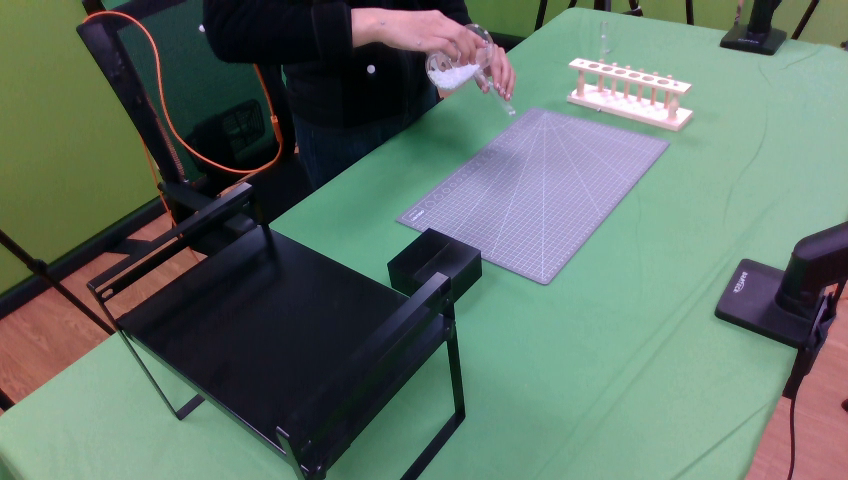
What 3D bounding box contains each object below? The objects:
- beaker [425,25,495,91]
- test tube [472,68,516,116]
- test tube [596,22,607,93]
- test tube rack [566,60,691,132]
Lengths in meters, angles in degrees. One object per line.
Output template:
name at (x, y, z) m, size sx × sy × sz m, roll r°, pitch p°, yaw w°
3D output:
beaker at (0.056, -0.288, 0.971) m, size 0.073 × 0.084 × 0.100 m, roll 25°, pitch 51°, yaw 30°
test tube at (0.128, -0.261, 1.079) m, size 0.017 × 0.151 × 0.017 m, roll -13°, pitch 65°, yaw 30°
test tube at (0.363, -0.372, 1.240) m, size 0.017 × 0.151 × 0.017 m, roll -6°, pitch 40°, yaw 5°
test tube rack at (0.411, -0.300, 1.217) m, size 0.240 × 0.085 × 0.067 m, roll 26°, pitch 51°, yaw 33°
